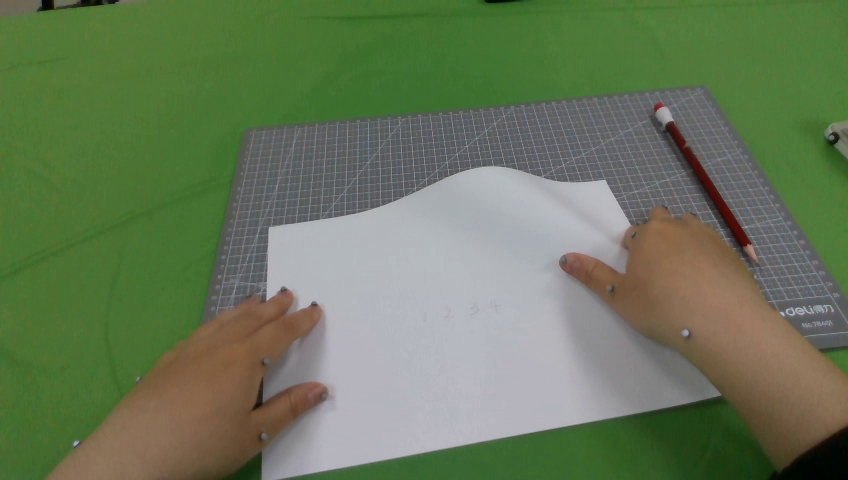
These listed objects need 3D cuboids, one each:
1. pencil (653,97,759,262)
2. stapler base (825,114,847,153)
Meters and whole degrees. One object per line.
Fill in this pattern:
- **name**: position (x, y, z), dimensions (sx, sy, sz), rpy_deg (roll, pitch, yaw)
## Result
- **pencil**: position (0.228, -0.057, 0.498), dimensions (0.012, 0.012, 0.192), rpy_deg (-8, 50, -3)
- **stapler base**: position (0.380, -0.067, 0.489), dimensions (0.041, 0.025, 0.129), rpy_deg (-11, 50, -1)
